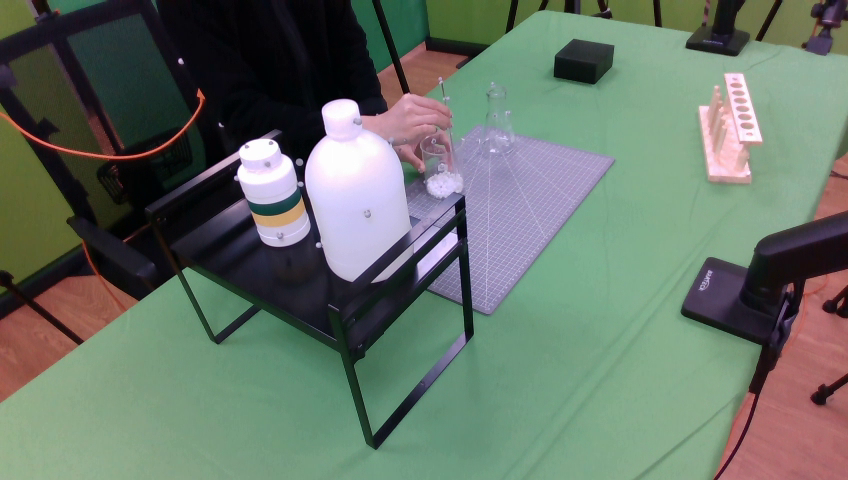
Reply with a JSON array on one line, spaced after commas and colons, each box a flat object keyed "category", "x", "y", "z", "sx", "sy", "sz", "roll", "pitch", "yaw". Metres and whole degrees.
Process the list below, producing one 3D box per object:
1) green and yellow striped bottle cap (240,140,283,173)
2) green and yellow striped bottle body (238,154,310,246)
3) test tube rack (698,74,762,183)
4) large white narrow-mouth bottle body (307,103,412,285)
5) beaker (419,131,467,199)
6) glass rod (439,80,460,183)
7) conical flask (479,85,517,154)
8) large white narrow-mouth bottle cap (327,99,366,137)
[{"category": "green and yellow striped bottle cap", "x": -0.183, "y": -0.094, "z": 0.679, "sx": 0.045, "sy": 0.020, "sz": 0.045, "roll": -4, "pitch": 38, "yaw": 4}, {"category": "green and yellow striped bottle body", "x": -0.178, "y": -0.056, "z": 0.714, "sx": 0.063, "sy": 0.120, "sz": 0.063, "roll": -4, "pitch": 40, "yaw": 4}, {"category": "test tube rack", "x": 0.547, "y": -0.208, "z": 1.095, "sx": 0.066, "sy": 0.085, "sz": 0.242, "roll": 5, "pitch": 42, "yaw": 15}, {"category": "large white narrow-mouth bottle body", "x": -0.070, "y": -0.051, "z": 0.638, "sx": 0.102, "sy": 0.195, "sz": 0.101, "roll": -3, "pitch": 40, "yaw": 3}, {"category": "beaker", "x": 0.037, "y": -0.130, "z": 1.060, "sx": 0.084, "sy": 0.100, "sz": 0.073, "roll": -14, "pitch": 41, "yaw": -9}, {"category": "glass rod", "x": 0.045, "y": -0.176, "z": 1.014, "sx": 0.008, "sy": 0.201, "sz": 0.008, "roll": -8, "pitch": 41, "yaw": 7}, {"category": "conical flask", "x": 0.139, "y": -0.231, "z": 1.145, "sx": 0.075, "sy": 0.122, "sz": 0.075, "roll": -4, "pitch": 41, "yaw": 4}, {"category": "large white narrow-mouth bottle cap", "x": -0.075, "y": -0.117, "z": 0.582, "sx": 0.038, "sy": 0.024, "sz": 0.037, "roll": -3, "pitch": 40, "yaw": 3}]
